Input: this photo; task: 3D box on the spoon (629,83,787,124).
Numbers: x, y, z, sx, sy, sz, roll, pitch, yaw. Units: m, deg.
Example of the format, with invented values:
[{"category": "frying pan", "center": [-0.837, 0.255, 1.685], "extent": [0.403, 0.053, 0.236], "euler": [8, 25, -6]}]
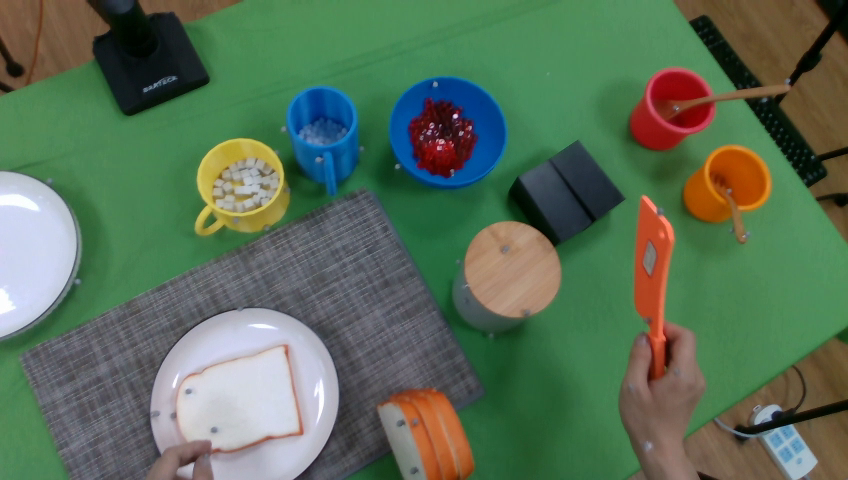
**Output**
[{"category": "spoon", "center": [0.373, -0.186, 0.810], "extent": [0.192, 0.022, 0.041], "euler": [-4, 62, 39]}]

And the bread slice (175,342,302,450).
[{"category": "bread slice", "center": [-0.213, 0.183, 0.692], "extent": [0.132, 0.019, 0.104], "euler": [-14, 74, -14]}]

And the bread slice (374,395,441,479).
[{"category": "bread slice", "center": [-0.018, 0.216, 0.656], "extent": [0.018, 0.135, 0.106], "euler": [-20, 75, -20]}]

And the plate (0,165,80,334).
[{"category": "plate", "center": [-0.509, 0.015, 0.708], "extent": [0.208, 0.039, 0.206], "euler": [2, 74, -6]}]

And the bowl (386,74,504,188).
[{"category": "bowl", "center": [0.023, -0.129, 0.789], "extent": [0.151, 0.077, 0.150], "euler": [2, 74, -6]}]

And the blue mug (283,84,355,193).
[{"category": "blue mug", "center": [-0.126, -0.116, 0.755], "extent": [0.082, 0.106, 0.116], "euler": [-8, 75, -8]}]

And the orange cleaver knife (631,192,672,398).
[{"category": "orange cleaver knife", "center": [0.226, 0.058, 0.612], "extent": [0.012, 0.076, 0.212], "euler": [-9, 111, -4]}]

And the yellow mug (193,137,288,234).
[{"category": "yellow mug", "center": [-0.233, -0.057, 0.745], "extent": [0.099, 0.064, 0.130], "euler": [39, 75, 6]}]

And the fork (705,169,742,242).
[{"category": "fork", "center": [0.381, -0.047, 0.769], "extent": [0.028, 0.019, 0.206], "euler": [35, 29, -2]}]

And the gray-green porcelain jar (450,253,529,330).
[{"category": "gray-green porcelain jar", "center": [0.087, 0.049, 0.720], "extent": [0.106, 0.127, 0.105], "euler": [2, 73, -6]}]

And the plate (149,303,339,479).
[{"category": "plate", "center": [-0.200, 0.178, 0.692], "extent": [0.209, 0.038, 0.208], "euler": [2, 74, -5]}]

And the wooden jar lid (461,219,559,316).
[{"category": "wooden jar lid", "center": [0.093, 0.030, 0.660], "extent": [0.108, 0.021, 0.108], "euler": [3, 74, -8]}]
